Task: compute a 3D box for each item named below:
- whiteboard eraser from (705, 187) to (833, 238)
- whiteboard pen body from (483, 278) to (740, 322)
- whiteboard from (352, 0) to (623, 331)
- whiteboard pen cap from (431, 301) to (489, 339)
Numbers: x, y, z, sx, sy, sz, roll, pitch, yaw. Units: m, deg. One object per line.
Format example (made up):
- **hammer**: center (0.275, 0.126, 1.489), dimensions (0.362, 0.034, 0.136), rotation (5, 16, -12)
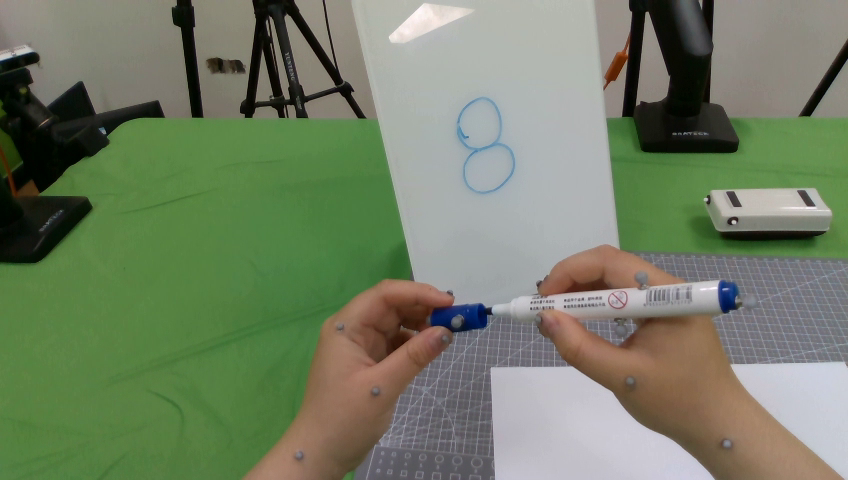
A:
- **whiteboard eraser**: center (0.365, -0.030, 0.647), dimensions (0.112, 0.042, 0.055), rotation (1, 41, 7)
- **whiteboard pen body**: center (0.088, 0.033, 0.316), dimensions (0.140, 0.017, 0.017), rotation (-10, 29, 40)
- **whiteboard**: center (0.056, -0.101, 0.613), dimensions (0.217, 0.307, 0.142), rotation (-16, 19, -12)
- **whiteboard pen cap**: center (0.022, 0.047, 0.364), dimensions (0.033, 0.018, 0.018), rotation (-23, 31, 27)
